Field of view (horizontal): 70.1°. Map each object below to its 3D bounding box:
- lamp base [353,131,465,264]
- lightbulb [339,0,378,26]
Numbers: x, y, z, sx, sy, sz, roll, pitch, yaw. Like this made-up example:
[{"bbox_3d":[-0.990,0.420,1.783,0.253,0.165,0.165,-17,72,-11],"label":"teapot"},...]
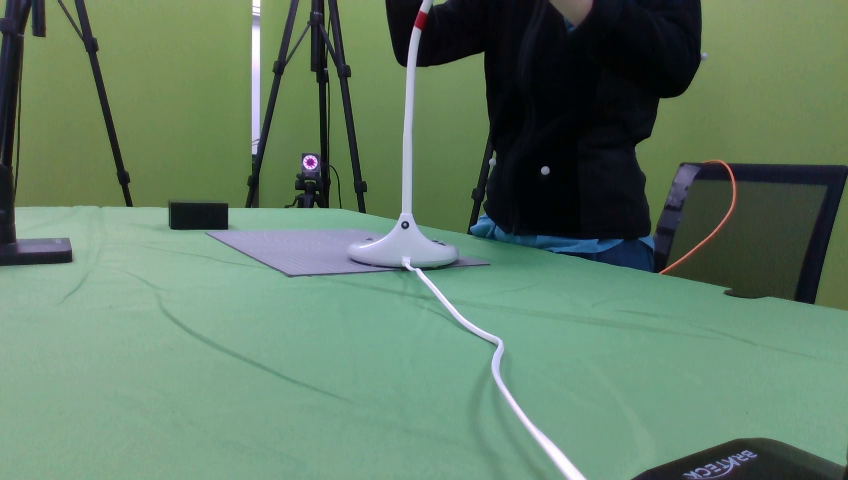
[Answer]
[{"bbox_3d":[-0.014,-0.062,0.851,0.161,0.180,0.178,-1,11,-20],"label":"lamp base"},{"bbox_3d":[-0.094,-0.342,0.893,0.060,0.059,0.107,0,31,-13],"label":"lightbulb"}]
